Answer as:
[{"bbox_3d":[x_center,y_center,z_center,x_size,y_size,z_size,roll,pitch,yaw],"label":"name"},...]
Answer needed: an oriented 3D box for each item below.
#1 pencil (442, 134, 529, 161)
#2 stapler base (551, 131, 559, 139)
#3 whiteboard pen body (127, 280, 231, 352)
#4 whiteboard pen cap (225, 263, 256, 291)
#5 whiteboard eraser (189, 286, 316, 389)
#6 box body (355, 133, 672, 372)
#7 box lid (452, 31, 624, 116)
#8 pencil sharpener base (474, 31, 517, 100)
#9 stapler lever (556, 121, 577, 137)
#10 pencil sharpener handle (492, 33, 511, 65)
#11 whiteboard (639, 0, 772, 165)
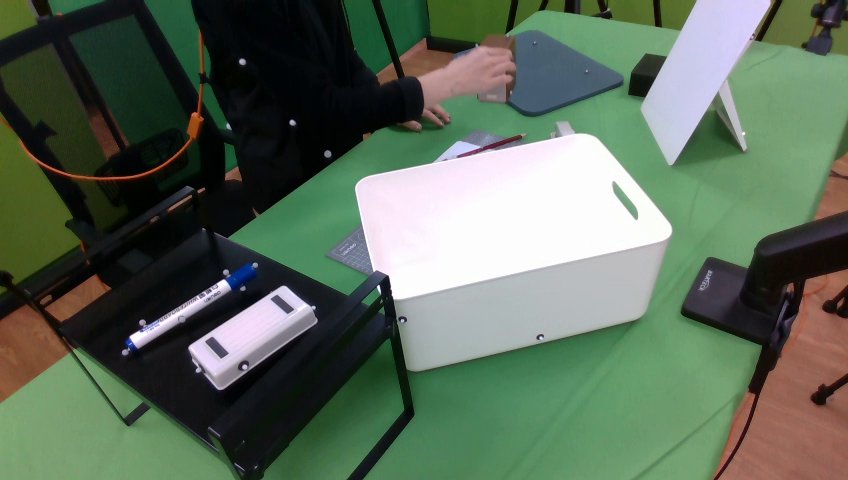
[{"bbox_3d":[0.123,-0.180,1.175,0.195,0.012,0.012,-20,42,-17],"label":"pencil"},{"bbox_3d":[0.268,-0.178,1.142,0.041,0.024,0.130,1,37,3],"label":"stapler base"},{"bbox_3d":[-0.248,0.072,0.645,0.141,0.017,0.017,-35,47,-23],"label":"whiteboard pen body"},{"bbox_3d":[-0.204,0.041,0.668,0.033,0.018,0.018,-36,48,-22],"label":"whiteboard pen cap"},{"bbox_3d":[-0.166,0.096,0.593,0.113,0.042,0.055,-36,47,-29],"label":"whiteboard eraser"},{"bbox_3d":[0.108,0.013,0.834,0.365,0.161,0.252,-12,41,-6],"label":"box body"},{"bbox_3d":[0.256,-0.401,1.419,0.264,0.015,0.368,-22,43,-17],"label":"box lid"},{"bbox_3d":[0.137,-0.329,1.139,0.061,0.107,0.076,9,45,20],"label":"pencil sharpener base"},{"bbox_3d":[0.266,-0.198,1.128,0.027,0.040,0.117,0,38,3],"label":"stapler lever"},{"bbox_3d":[0.150,-0.372,1.166,0.036,0.068,0.030,19,47,9],"label":"pencil sharpener handle"},{"bbox_3d":[0.543,-0.298,1.076,0.144,0.305,0.216,12,40,-7],"label":"whiteboard"}]
